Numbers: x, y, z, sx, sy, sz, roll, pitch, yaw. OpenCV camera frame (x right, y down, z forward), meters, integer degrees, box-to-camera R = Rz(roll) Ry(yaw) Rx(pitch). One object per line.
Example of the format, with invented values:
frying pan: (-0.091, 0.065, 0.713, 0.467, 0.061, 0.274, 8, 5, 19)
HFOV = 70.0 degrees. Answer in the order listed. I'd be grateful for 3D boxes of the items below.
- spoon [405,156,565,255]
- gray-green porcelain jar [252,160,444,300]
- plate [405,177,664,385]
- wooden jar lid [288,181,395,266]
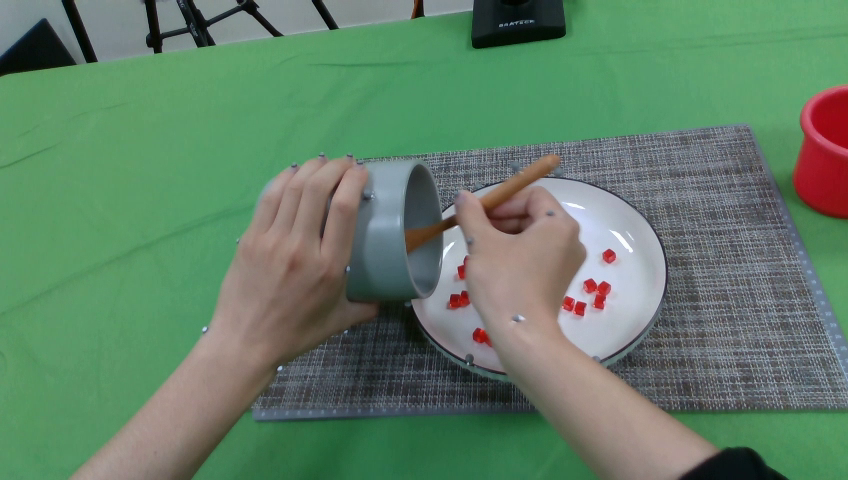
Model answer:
spoon: (0.020, -0.015, 0.449, 0.193, 0.022, 0.041, -26, 49, 29)
gray-green porcelain jar: (-0.058, -0.006, 0.469, 0.126, 0.107, 0.105, -1, 49, 16)
plate: (0.087, 0.032, 0.503, 0.207, 0.039, 0.205, -7, 48, 8)
wooden jar lid: (-0.080, -0.015, 0.600, 0.108, 0.021, 0.107, -6, 47, 7)
